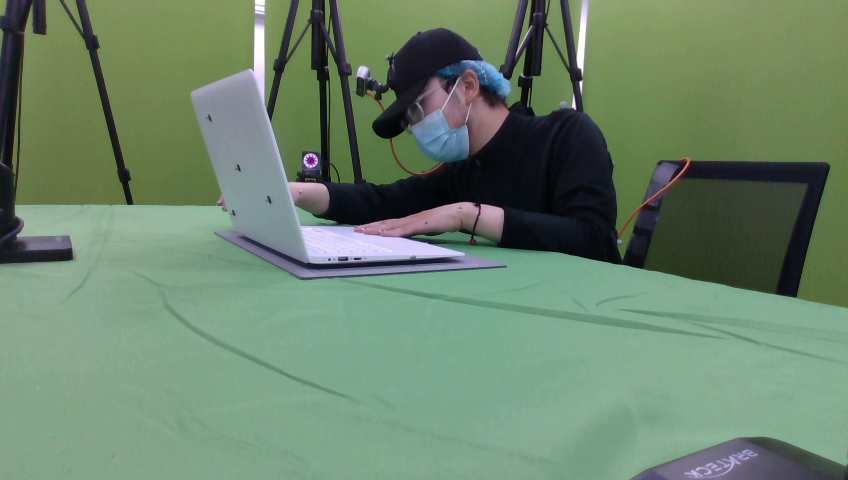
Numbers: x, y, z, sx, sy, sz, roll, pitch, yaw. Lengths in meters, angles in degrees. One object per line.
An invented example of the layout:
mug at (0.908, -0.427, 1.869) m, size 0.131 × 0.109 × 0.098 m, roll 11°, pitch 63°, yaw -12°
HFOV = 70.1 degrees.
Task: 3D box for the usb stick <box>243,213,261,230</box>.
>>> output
usb stick at (-0.300, -0.032, 1.061) m, size 0.021 × 0.027 × 0.059 m, roll -3°, pitch 14°, yaw -33°

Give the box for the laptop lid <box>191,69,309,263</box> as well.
laptop lid at (-0.255, -0.102, 0.842) m, size 0.013 × 0.242 × 0.355 m, roll -22°, pitch 20°, yaw -27°

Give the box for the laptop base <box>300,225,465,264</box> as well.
laptop base at (-0.128, 0.005, 0.937) m, size 0.237 × 0.023 × 0.352 m, roll 2°, pitch 6°, yaw -32°
